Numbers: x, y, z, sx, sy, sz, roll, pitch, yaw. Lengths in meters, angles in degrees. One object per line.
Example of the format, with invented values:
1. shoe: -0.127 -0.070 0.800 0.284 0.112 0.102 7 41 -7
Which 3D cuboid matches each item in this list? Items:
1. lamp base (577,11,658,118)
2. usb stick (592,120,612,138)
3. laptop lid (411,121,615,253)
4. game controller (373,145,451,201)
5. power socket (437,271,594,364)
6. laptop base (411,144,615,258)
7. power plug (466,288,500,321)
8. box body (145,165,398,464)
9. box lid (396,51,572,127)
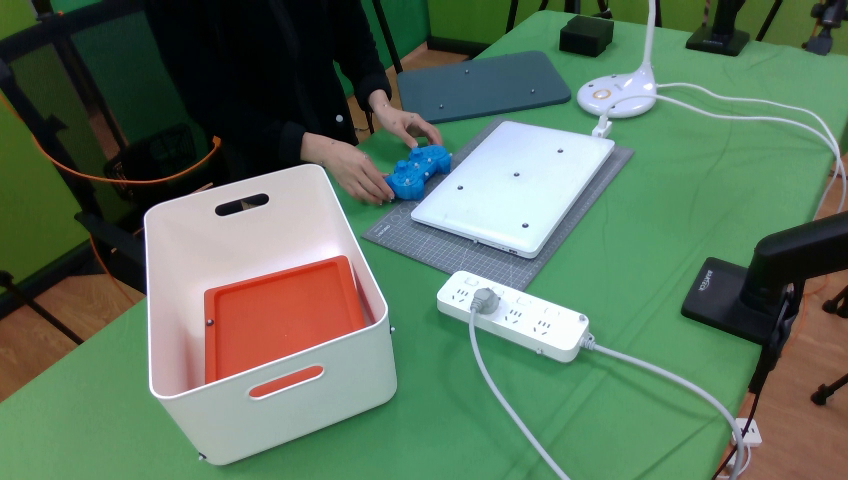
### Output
1. lamp base: 0.406 -0.363 1.222 0.180 0.181 0.159 -20 42 -18
2. usb stick: 0.335 -0.203 1.149 0.021 0.027 0.059 25 53 26
3. laptop lid: 0.164 -0.112 1.068 0.240 0.013 0.357 19 46 31
4. game controller: -0.018 -0.130 1.111 0.096 0.052 0.155 22 49 26
5. power socket: 0.118 0.102 0.830 0.225 0.033 0.072 20 48 28
6. laptop base: 0.167 -0.102 1.074 0.234 0.023 0.355 16 45 30
7. power plug: 0.072 0.093 0.813 0.035 0.053 0.073 30 54 35
8. box body: -0.205 0.080 0.802 0.255 0.161 0.361 -18 41 -13
9. box lid: 0.128 -0.350 1.380 0.372 0.015 0.261 -10 41 -2
